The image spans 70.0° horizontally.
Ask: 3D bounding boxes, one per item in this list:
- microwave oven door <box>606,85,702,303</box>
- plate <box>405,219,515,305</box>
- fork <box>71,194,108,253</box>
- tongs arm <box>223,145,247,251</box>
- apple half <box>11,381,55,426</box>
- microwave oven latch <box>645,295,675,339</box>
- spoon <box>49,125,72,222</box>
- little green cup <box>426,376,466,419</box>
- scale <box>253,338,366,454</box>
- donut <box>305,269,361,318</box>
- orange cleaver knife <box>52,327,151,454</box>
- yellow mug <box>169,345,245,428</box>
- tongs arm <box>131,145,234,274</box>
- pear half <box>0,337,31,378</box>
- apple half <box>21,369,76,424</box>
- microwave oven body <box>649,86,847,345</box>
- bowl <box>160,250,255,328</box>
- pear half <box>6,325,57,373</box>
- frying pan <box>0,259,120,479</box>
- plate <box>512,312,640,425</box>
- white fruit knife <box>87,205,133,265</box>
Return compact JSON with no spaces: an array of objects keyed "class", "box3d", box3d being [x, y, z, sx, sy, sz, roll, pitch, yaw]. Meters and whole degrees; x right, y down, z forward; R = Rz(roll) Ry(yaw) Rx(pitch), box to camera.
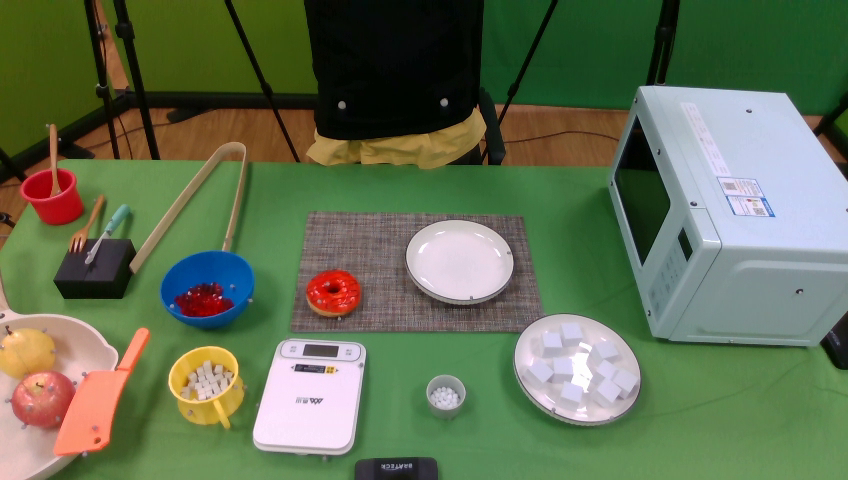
[{"class":"microwave oven door","box3d":[0.422,-0.094,1.141,0.039,0.245,0.353,2,46,-1]},{"class":"plate","box3d":[0.067,0.044,1.144,0.209,0.038,0.208,2,46,-2]},{"class":"fork","box3d":[-0.634,-0.036,1.158,0.028,0.019,0.206,-7,31,-8]},{"class":"tongs arm","box3d":[-0.398,-0.072,1.232,0.051,0.026,0.382,-3,45,-1]},{"class":"apple half","box3d":[-0.570,0.246,0.875,0.081,0.081,0.033,32,49,24]},{"class":"microwave oven latch","box3d":[0.411,0.134,1.061,0.030,0.029,0.078,3,45,0]},{"class":"spoon","box3d":[-0.718,-0.131,1.189,0.041,0.021,0.193,-4,90,-6]},{"class":"little green cup","box3d":[0.033,0.248,0.950,0.061,0.039,0.061,2,46,-2]},{"class":"scale","box3d":[-0.175,0.236,0.951,0.149,0.032,0.199,4,45,-1]},{"class":"donut","box3d":[-0.160,0.094,1.075,0.099,0.048,0.098,3,45,-3]},{"class":"orange cleaver knife","box3d":[-0.462,0.212,0.879,0.077,0.012,0.210,6,45,-1]},{"class":"yellow mug","box3d":[-0.322,0.230,0.922,0.100,0.064,0.130,-24,53,-25]},{"class":"tongs arm","box3d":[-0.485,-0.075,1.235,0.028,0.028,0.385,5,44,13]},{"class":"pear half","box3d":[-0.631,0.183,0.923,0.070,0.088,0.031,28,50,15]},{"class":"apple half","box3d":[-0.546,0.227,0.898,0.080,0.075,0.053,29,47,27]},{"class":"microwave oven body","box3d":[0.567,-0.053,1.118,0.326,0.261,0.439,2,45,-1]},{"class":"bowl","box3d":[-0.362,0.098,1.040,0.151,0.077,0.150,2,45,-2]},{"class":"pear half","box3d":[-0.608,0.158,0.935,0.076,0.110,0.056,31,51,19]},{"class":"frying pan","box3d":[-0.647,0.164,0.936,0.307,0.103,0.485,-19,58,-22]},{"class":"plate","box3d":[0.246,0.213,0.999,0.208,0.039,0.206,2,46,-2]},{"class":"white fruit knife","box3d":[-0.584,-0.013,1.129,0.016,0.027,0.206,0,32,-5]}]
